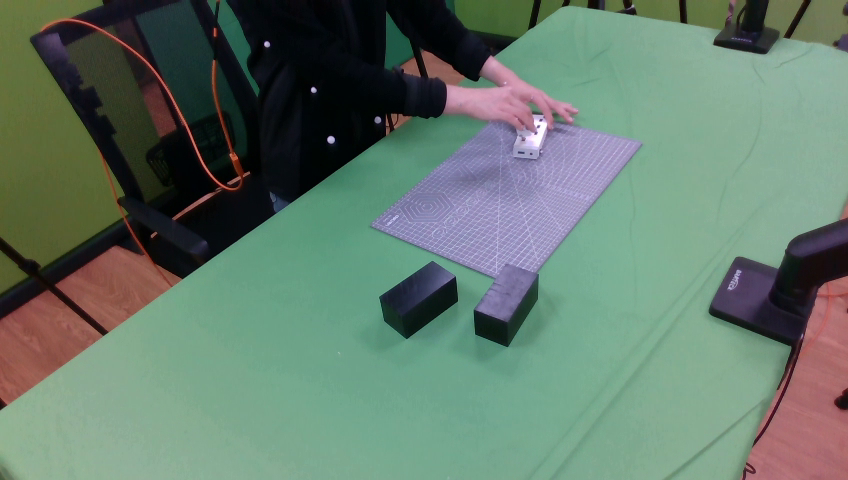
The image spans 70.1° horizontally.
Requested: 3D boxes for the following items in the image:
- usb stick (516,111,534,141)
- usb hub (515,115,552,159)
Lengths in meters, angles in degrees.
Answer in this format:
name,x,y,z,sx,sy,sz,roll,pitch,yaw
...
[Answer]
name,x,y,z,sx,sy,sz,roll,pitch,yaw
usb stick,0.190,-0.209,1.125,0.027,0.059,0.021,-3,48,20
usb hub,0.213,-0.201,1.174,0.049,0.025,0.125,10,43,17
